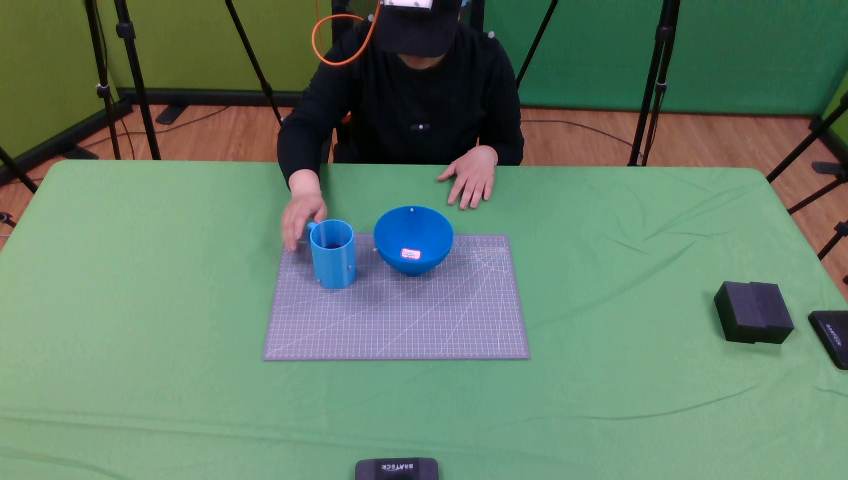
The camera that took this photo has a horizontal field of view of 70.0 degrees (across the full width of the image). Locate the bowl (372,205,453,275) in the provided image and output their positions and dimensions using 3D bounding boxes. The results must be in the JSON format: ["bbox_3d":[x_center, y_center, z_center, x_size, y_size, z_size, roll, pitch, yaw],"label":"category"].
[{"bbox_3d":[-0.022,0.013,1.143,0.151,0.077,0.150,2,46,-2],"label":"bowl"}]

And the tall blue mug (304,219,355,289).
[{"bbox_3d":[-0.180,0.023,1.099,0.107,0.108,0.077,15,48,10],"label":"tall blue mug"}]
